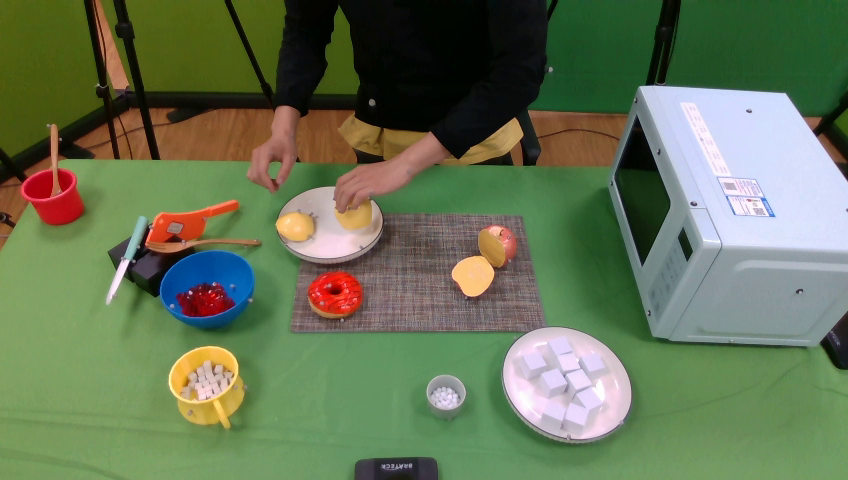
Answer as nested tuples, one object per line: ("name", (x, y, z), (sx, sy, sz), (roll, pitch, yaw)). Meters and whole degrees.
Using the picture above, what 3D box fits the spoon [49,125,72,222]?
("spoon", (-0.717, -0.131, 1.189), (0.041, 0.021, 0.193), (-3, 90, -7))

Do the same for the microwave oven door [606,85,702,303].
("microwave oven door", (0.423, -0.094, 1.140), (0.039, 0.245, 0.353), (2, 46, -1))

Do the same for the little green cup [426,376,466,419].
("little green cup", (0.033, 0.248, 0.950), (0.061, 0.039, 0.061), (2, 46, -2))

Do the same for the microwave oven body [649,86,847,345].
("microwave oven body", (0.567, -0.053, 1.118), (0.326, 0.261, 0.439), (2, 45, -1))

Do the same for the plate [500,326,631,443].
("plate", (0.224, 0.234, 0.978), (0.208, 0.039, 0.206), (2, 46, -2))

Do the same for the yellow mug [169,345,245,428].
("yellow mug", (-0.322, 0.230, 0.922), (0.100, 0.064, 0.130), (-24, 53, -25))

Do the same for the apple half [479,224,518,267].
("apple half", (0.148, 0.008, 1.160), (0.053, 0.075, 0.080), (-24, 48, -30))

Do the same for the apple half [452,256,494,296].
("apple half", (0.095, 0.069, 1.120), (0.081, 0.033, 0.081), (-7, 62, 13))

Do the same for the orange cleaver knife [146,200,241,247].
("orange cleaver knife", (-0.435, -0.033, 1.157), (0.012, 0.077, 0.211), (31, 26, 19))

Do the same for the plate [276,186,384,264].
("plate", (-0.184, -0.027, 1.195), (0.209, 0.038, 0.208), (2, 46, -2))

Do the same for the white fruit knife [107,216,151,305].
("white fruit knife", (-0.518, 0.032, 1.066), (0.027, 0.016, 0.206), (-18, 45, 19))

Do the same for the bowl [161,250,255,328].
("bowl", (-0.362, 0.097, 1.040), (0.151, 0.077, 0.150), (2, 45, -2))

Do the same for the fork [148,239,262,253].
("fork", (-0.398, 0.008, 1.117), (0.208, 0.019, 0.028), (-5, 35, -37))

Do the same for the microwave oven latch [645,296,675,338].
("microwave oven latch", (0.412, 0.134, 1.061), (0.030, 0.029, 0.078), (3, 45, 0))

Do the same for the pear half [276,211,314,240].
("pear half", (-0.243, -0.036, 1.179), (0.070, 0.031, 0.088), (43, 43, 3))

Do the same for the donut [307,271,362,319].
("donut", (-0.157, 0.097, 1.073), (0.099, 0.048, 0.098), (4, 45, -4))

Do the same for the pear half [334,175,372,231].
("pear half", (-0.136, -0.076, 1.168), (0.056, 0.110, 0.076), (-12, 10, 41))
